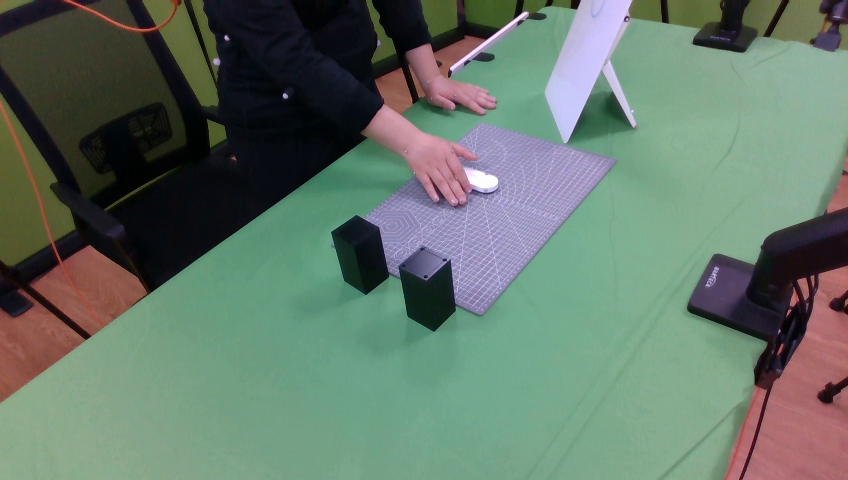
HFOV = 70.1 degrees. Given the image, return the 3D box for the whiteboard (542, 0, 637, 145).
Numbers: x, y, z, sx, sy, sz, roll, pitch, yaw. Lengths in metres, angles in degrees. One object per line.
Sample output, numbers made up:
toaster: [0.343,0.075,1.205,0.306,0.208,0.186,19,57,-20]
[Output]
whiteboard: [0.366,-0.351,1.160,0.144,0.305,0.216,9,39,-10]

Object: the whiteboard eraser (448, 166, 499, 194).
whiteboard eraser: [0.088,-0.108,1.083,0.100,0.019,0.041,22,49,31]
